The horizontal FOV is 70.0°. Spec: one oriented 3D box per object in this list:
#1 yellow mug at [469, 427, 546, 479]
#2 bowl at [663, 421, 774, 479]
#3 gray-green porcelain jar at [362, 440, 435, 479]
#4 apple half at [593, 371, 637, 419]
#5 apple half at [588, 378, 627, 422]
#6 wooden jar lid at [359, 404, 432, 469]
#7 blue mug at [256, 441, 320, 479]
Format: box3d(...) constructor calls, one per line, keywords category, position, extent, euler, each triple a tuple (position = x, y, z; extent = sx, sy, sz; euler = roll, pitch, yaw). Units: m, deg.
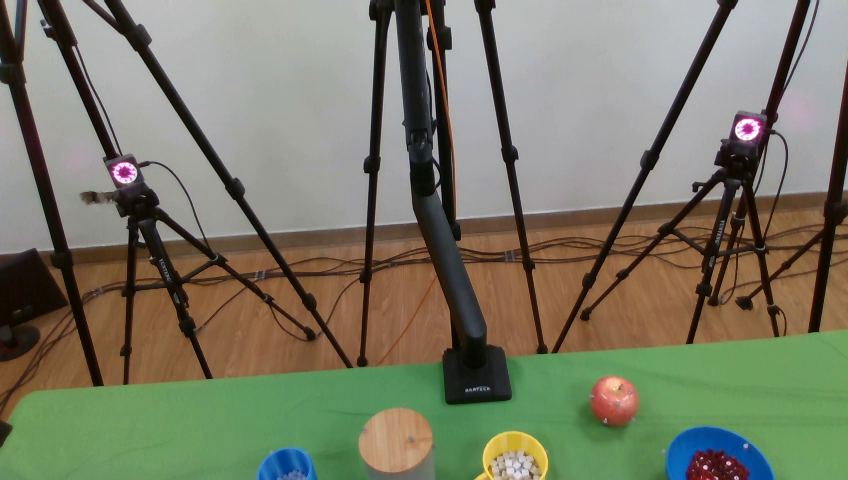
box3d(category="yellow mug", position=(0.125, 0.358, 0.942), extent=(0.131, 0.064, 0.099), euler=(-20, 42, -17))
box3d(category="bowl", position=(0.430, 0.357, 0.904), extent=(0.151, 0.077, 0.150), euler=(-3, 40, 3))
box3d(category="gray-green porcelain jar", position=(-0.037, 0.340, 0.932), extent=(0.106, 0.127, 0.105), euler=(-3, 40, 2))
box3d(category="apple half", position=(0.330, 0.262, 1.032), extent=(0.053, 0.075, 0.080), euler=(-22, 38, -28))
box3d(category="apple half", position=(0.299, 0.277, 1.015), extent=(0.033, 0.082, 0.080), euler=(-23, 43, -28))
box3d(category="wooden jar lid", position=(-0.042, 0.291, 0.892), extent=(0.108, 0.021, 0.107), euler=(-3, 37, 3))
box3d(category="blue mug", position=(-0.216, 0.377, 0.919), extent=(0.117, 0.107, 0.081), euler=(-21, 42, -19))
